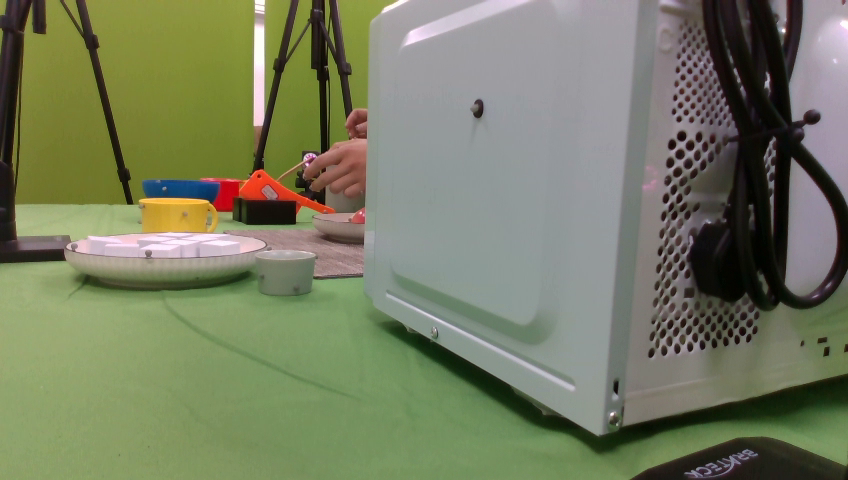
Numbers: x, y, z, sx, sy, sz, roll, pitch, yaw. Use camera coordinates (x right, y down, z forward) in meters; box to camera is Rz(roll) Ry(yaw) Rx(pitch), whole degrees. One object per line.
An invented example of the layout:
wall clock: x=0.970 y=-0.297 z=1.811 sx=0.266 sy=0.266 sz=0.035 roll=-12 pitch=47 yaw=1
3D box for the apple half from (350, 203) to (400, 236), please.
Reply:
apple half: x=-0.082 y=-0.036 z=1.024 sx=0.081 sy=0.053 sz=0.074 roll=-4 pitch=12 yaw=-34

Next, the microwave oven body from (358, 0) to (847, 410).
microwave oven body: x=0.210 y=-0.051 z=0.471 sx=0.444 sy=0.260 sz=0.324 roll=-1 pitch=7 yaw=-28

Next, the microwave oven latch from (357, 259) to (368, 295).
microwave oven latch: x=-0.019 y=0.031 z=0.529 sx=0.079 sy=0.029 sz=0.030 roll=-1 pitch=7 yaw=-26

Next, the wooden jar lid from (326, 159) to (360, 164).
wooden jar lid: x=-0.185 y=-0.187 z=1.481 sx=0.108 sy=0.020 sz=0.108 roll=4 pitch=6 yaw=0

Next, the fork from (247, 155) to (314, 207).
fork: x=-0.360 y=-0.147 z=1.522 sx=0.207 sy=0.018 sz=0.028 roll=-43 pitch=7 yaw=-7

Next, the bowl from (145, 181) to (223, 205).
bowl: x=-0.499 y=-0.081 z=1.261 sx=0.151 sy=0.077 sz=0.151 roll=2 pitch=8 yaw=0

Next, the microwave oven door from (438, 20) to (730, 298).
microwave oven door: x=0.181 y=-0.076 z=0.618 sx=0.358 sy=0.243 sz=0.039 roll=-2 pitch=8 yaw=-28

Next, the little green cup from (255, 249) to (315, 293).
little green cup: x=-0.144 y=0.031 z=0.627 sx=0.061 sy=0.038 sz=0.061 roll=2 pitch=6 yaw=0

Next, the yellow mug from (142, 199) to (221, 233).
yellow mug: x=-0.373 y=-0.030 z=0.948 sx=0.099 sy=0.064 sz=0.131 roll=6 pitch=8 yaw=30

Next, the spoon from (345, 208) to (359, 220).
spoon: x=-0.123 y=-0.048 z=1.116 sx=0.041 sy=0.021 sz=0.194 roll=-6 pitch=17 yaw=18

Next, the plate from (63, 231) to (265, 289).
plate: x=-0.288 y=0.021 z=0.687 sx=0.208 sy=0.039 sz=0.207 roll=2 pitch=8 yaw=0

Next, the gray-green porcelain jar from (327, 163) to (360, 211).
gray-green porcelain jar: x=-0.187 y=-0.125 z=1.490 sx=0.106 sy=0.126 sz=0.106 roll=2 pitch=8 yaw=0

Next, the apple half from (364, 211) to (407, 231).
apple half: x=-0.068 y=-0.037 z=1.103 sx=0.081 sy=0.033 sz=0.081 roll=0 pitch=10 yaw=0

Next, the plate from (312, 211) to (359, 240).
plate: x=-0.091 y=-0.026 z=1.063 sx=0.209 sy=0.038 sz=0.209 roll=2 pitch=7 yaw=0

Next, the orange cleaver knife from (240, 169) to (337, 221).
orange cleaver knife: x=-0.287 y=-0.082 z=1.298 sx=0.212 sy=0.077 sz=0.012 roll=25 pitch=-2 yaw=-31
